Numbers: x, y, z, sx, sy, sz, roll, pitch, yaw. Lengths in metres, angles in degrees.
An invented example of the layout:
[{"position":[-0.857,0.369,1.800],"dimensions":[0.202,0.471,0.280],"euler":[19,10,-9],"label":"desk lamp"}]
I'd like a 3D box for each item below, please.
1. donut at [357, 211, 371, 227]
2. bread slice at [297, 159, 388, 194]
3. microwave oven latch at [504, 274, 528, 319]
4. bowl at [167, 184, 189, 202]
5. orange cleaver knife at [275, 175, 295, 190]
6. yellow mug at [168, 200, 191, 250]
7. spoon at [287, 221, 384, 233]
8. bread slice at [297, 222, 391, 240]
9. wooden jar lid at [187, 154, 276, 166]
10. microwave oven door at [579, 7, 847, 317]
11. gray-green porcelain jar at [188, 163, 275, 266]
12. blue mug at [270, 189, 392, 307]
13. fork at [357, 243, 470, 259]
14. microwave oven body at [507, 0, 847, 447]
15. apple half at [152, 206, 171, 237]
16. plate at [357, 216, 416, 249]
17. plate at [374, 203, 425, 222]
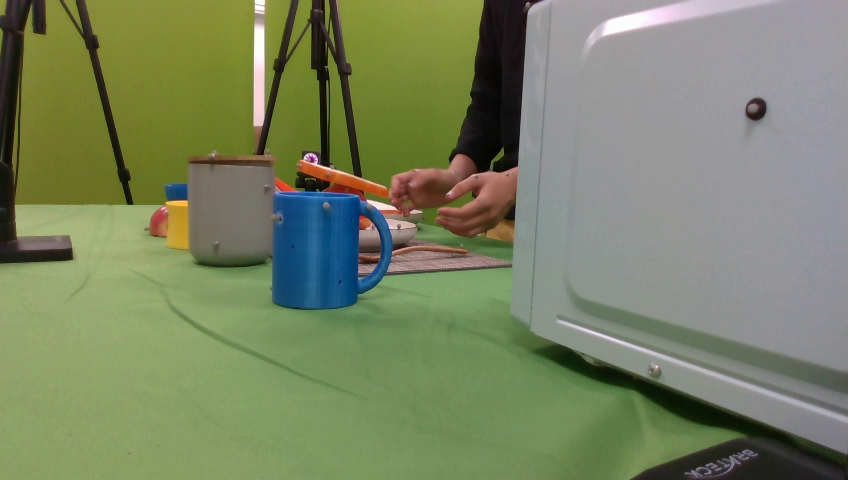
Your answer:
[{"position":[-0.129,-0.042,0.956],"dimensions":[0.099,0.048,0.099],"euler":[2,7,0],"label":"donut"},{"position":[-0.132,-0.102,0.952],"dimensions":[0.132,0.019,0.104],"euler":[13,6,-36],"label":"bread slice"},{"position":[0.100,0.041,0.470],"dimensions":[0.079,0.029,0.030],"euler":[-1,7,-27],"label":"microwave oven latch"},{"position":[-0.408,-0.064,1.154],"dimensions":[0.151,0.077,0.151],"euler":[2,8,0],"label":"bowl"},{"position":[-0.283,-0.087,1.343],"dimensions":[0.212,0.077,0.012],"euler":[24,-16,-41],"label":"orange cleaver knife"},{"position":[-0.320,-0.023,0.904],"dimensions":[0.130,0.064,0.100],"euler":[8,10,36],"label":"yellow mug"},{"position":[-0.157,-0.027,1.110],"dimensions":[0.195,0.021,0.041],"euler":[-4,-12,-35],"label":"spoon"},{"position":[-0.121,-0.015,0.970],"dimensions":[0.106,0.018,0.135],"euler":[10,9,40],"label":"bread slice"},{"position":[-0.244,-0.097,0.771],"dimensions":[0.108,0.020,0.108],"euler":[-1,7,0],"label":"wooden jar lid"},{"position":[0.294,-0.067,0.570],"dimensions":[0.358,0.243,0.039],"euler":[-3,9,-31],"label":"microwave oven door"},{"position":[-0.246,-0.034,0.780],"dimensions":[0.106,0.126,0.106],"euler":[2,7,0],"label":"gray-green porcelain jar"},{"position":[-0.090,0.005,0.588],"dimensions":[0.117,0.106,0.082],"euler":[1,7,-11],"label":"blue mug"},{"position":[-0.017,0.014,0.845],"dimensions":[0.208,0.018,0.028],"euler":[-5,1,-35],"label":"fork"},{"position":[0.331,-0.042,0.425],"dimensions":[0.444,0.260,0.324],"euler":[-2,8,-31],"label":"microwave oven body"},{"position":[-0.415,-0.034,1.017],"dimensions":[0.081,0.053,0.074],"euler":[1,10,-9],"label":"apple half"},{"position":[-0.116,-0.014,0.967],"dimensions":[0.208,0.039,0.207],"euler":[2,7,0],"label":"plate"},{"position":[-0.102,-0.053,1.299],"dimensions":[0.209,0.038,0.209],"euler":[2,8,0],"label":"plate"}]
